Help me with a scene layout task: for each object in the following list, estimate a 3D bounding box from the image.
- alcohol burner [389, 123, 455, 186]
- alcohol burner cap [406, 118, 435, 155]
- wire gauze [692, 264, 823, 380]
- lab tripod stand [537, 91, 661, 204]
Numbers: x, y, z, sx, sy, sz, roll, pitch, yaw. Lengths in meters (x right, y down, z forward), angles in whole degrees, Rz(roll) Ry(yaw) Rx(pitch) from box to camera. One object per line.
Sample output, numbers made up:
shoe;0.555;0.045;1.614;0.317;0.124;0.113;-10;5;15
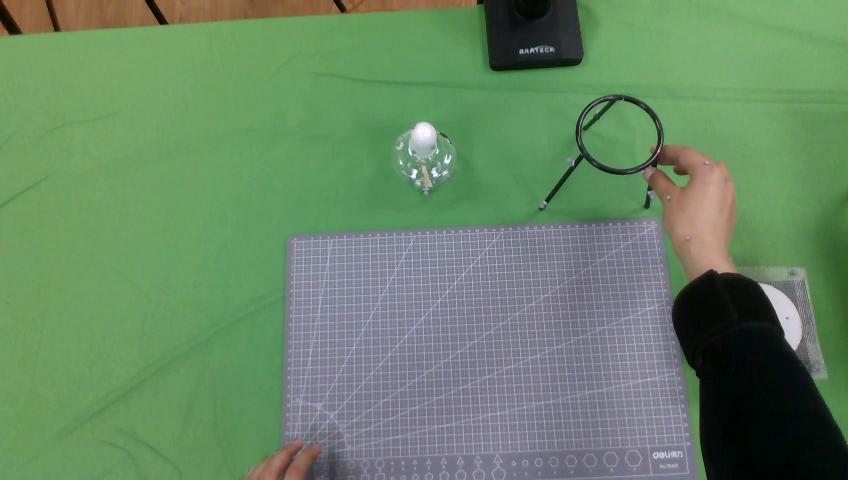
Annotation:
alcohol burner;-0.002;-0.108;0.699;0.078;0.119;0.077;0;75;-1
alcohol burner cap;-0.003;-0.116;0.665;0.034;0.048;0.033;0;80;-2
wire gauze;0.351;0.086;0.645;0.121;0.011;0.124;0;74;4
lab tripod stand;0.203;-0.095;0.682;0.148;0.132;0.147;0;74;-1
